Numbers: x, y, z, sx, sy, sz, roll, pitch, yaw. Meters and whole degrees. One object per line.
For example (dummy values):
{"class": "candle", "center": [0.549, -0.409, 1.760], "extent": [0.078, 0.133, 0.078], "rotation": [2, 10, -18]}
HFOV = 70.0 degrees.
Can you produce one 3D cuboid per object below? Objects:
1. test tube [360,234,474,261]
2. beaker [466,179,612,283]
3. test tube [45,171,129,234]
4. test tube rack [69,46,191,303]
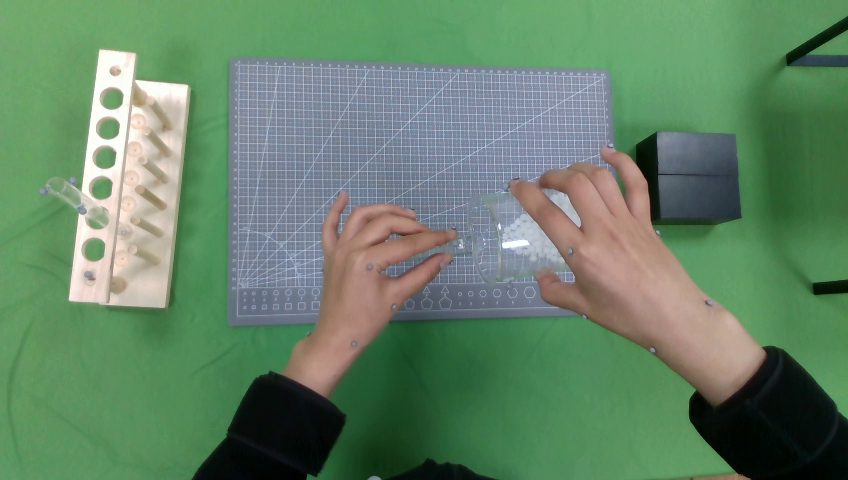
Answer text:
{"class": "test tube", "center": [-0.012, 0.008, 0.569], "extent": [0.017, 0.149, 0.017], "rotation": [5, 82, -43]}
{"class": "beaker", "center": [0.091, -0.009, 0.490], "extent": [0.100, 0.084, 0.074], "rotation": [-8, 87, -13]}
{"class": "test tube", "center": [-0.304, -0.030, 0.557], "extent": [0.017, 0.150, 0.017], "rotation": [1, 76, -6]}
{"class": "test tube rack", "center": [-0.292, -0.060, 0.612], "extent": [0.067, 0.085, 0.241], "rotation": [4, 83, -8]}
